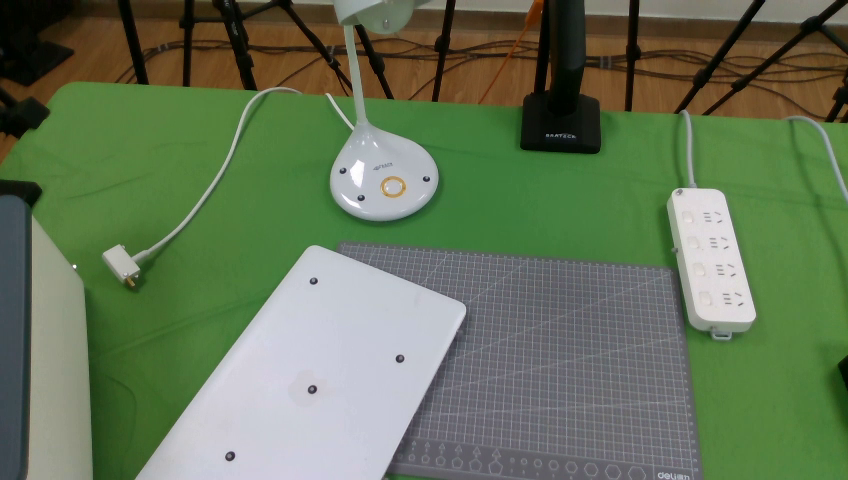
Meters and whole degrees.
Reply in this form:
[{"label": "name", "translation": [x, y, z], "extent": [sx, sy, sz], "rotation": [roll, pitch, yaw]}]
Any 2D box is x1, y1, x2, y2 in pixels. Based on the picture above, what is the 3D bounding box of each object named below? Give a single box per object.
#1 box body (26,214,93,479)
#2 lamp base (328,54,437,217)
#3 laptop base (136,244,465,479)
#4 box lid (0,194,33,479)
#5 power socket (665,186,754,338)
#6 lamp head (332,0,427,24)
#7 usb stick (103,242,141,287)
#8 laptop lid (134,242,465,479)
[{"label": "box body", "translation": [-0.510, 0.162, 0.635], "extent": [0.254, 0.162, 0.360], "rotation": [-18, 55, -11]}, {"label": "lamp base", "translation": [-0.072, -0.150, 0.833], "extent": [0.161, 0.182, 0.177], "rotation": [-28, 54, -17]}, {"label": "laptop base", "translation": [-0.128, 0.175, 0.700], "extent": [0.234, 0.023, 0.352], "rotation": [22, 58, 15]}, {"label": "box lid", "translation": [-0.513, 0.117, 0.577], "extent": [0.263, 0.015, 0.367], "rotation": [-18, 56, -10]}, {"label": "power socket", "translation": [0.362, 0.018, 0.778], "extent": [0.072, 0.033, 0.224], "rotation": [4, 54, 4]}, {"label": "lamp head", "translation": [-0.049, -0.280, 0.579], "extent": [0.112, 0.112, 0.123], "rotation": [-21, 99, -12]}, {"label": "usb stick", "translation": [-0.397, 0.034, 0.803], "extent": [0.027, 0.021, 0.059], "rotation": [-35, 89, -38]}, {"label": "laptop lid", "translation": [-0.126, 0.168, 0.689], "extent": [0.240, 0.013, 0.355], "rotation": [23, 58, 16]}]
